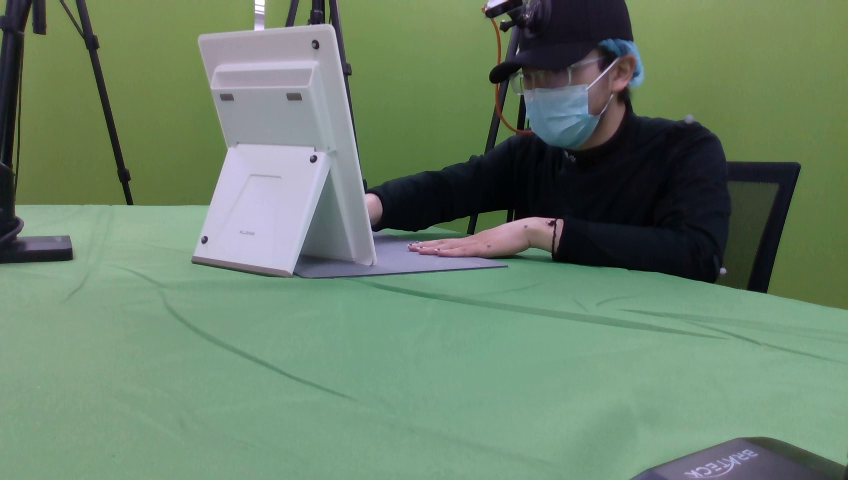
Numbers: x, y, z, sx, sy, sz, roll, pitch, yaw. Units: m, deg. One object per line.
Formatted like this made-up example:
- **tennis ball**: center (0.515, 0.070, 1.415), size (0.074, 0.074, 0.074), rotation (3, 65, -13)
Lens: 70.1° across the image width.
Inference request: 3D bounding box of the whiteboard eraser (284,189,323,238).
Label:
- **whiteboard eraser**: center (-0.177, -0.035, 0.874), size (0.042, 0.055, 0.112), rotation (-31, 2, -16)

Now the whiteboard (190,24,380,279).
- **whiteboard**: center (-0.206, -0.085, 0.732), size (0.216, 0.305, 0.144), rotation (7, 30, 30)
